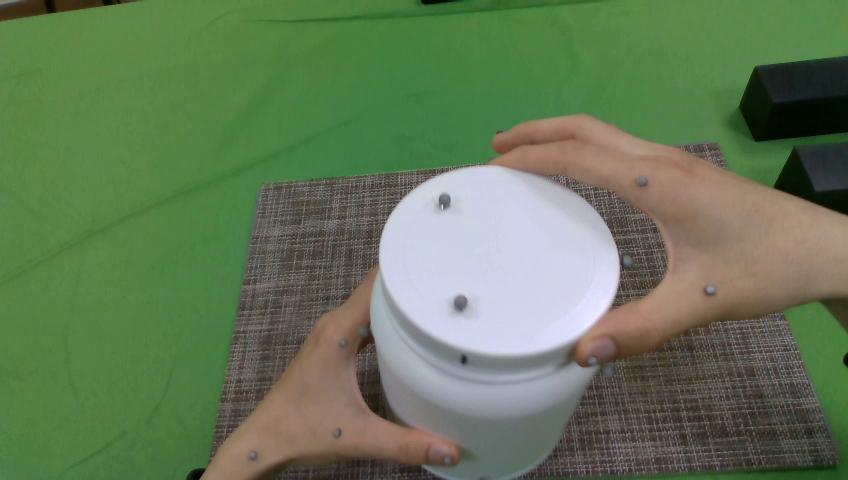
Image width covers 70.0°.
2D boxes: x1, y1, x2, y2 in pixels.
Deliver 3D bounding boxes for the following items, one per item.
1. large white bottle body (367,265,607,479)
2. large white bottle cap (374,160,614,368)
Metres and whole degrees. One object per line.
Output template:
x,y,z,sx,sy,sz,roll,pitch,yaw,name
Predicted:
0.034,0.059,0.366,0.130,0.186,0.129,0,55,0,large white bottle body
0.034,0.007,0.293,0.115,0.018,0.113,1,53,-1,large white bottle cap
